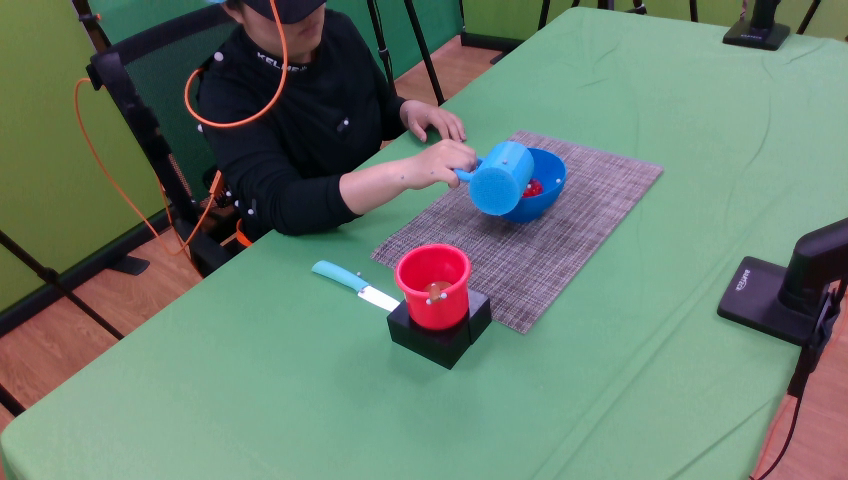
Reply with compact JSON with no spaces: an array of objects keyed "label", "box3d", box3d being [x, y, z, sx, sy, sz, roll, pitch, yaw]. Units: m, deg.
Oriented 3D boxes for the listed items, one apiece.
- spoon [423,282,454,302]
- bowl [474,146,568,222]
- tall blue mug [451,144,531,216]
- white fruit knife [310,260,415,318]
[{"label":"spoon","box3d":[0.015,0.062,0.733,0.041,0.021,0.194,-6,-4,3]},{"label":"bowl","box3d":[0.161,-0.083,1.000,0.151,0.077,0.150,-5,40,5]},{"label":"tall blue mug","box3d":[0.103,-0.098,0.892,0.107,0.077,0.108,34,29,-3]},{"label":"white fruit knife","box3d":[-0.094,0.074,0.920,0.206,0.016,0.027,24,77,30]}]
